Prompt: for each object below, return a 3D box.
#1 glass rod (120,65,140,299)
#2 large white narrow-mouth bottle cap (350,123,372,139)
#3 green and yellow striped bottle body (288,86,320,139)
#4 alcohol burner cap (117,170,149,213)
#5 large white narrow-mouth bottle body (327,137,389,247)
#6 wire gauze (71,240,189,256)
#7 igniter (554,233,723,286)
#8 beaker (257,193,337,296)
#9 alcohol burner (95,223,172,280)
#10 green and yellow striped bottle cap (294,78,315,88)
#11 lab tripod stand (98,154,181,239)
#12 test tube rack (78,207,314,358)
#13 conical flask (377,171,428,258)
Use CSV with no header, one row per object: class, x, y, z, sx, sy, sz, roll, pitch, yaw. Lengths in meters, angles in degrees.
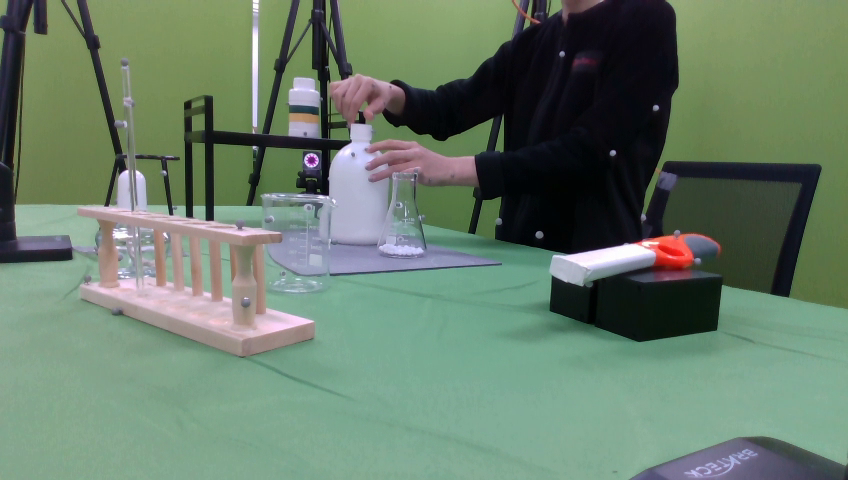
glass rod,-0.249,-0.047,0.513,0.008,0.199,0.008,-1,4,0
large white narrow-mouth bottle cap,-0.102,-0.176,0.981,0.038,0.024,0.037,4,9,0
green and yellow striped bottle body,-0.250,-0.272,1.261,0.063,0.119,0.063,3,7,0
alcohol burner cap,-0.320,-0.052,0.661,0.034,0.048,0.034,-3,0,0
large white narrow-mouth bottle body,-0.107,-0.091,0.996,0.102,0.194,0.101,3,9,0
wire gauze,-0.399,0.013,0.820,0.126,0.011,0.121,-3,8,-37
igniter,0.214,0.015,0.570,0.278,0.025,0.057,-5,22,-44
beaker,-0.130,0.003,0.628,0.084,0.100,0.074,5,8,15
alcohol burner,-0.320,-0.016,0.667,0.078,0.119,0.078,0,7,0
green and yellow striped bottle cap,-0.248,-0.323,1.256,0.045,0.020,0.045,4,8,0
lab tripod stand,-0.427,-0.066,0.942,0.148,0.131,0.148,1,6,0
test tube rack,-0.196,0.024,0.499,0.241,0.085,0.067,8,8,37
conical flask,-0.029,-0.037,0.875,0.075,0.122,0.075,2,7,0
